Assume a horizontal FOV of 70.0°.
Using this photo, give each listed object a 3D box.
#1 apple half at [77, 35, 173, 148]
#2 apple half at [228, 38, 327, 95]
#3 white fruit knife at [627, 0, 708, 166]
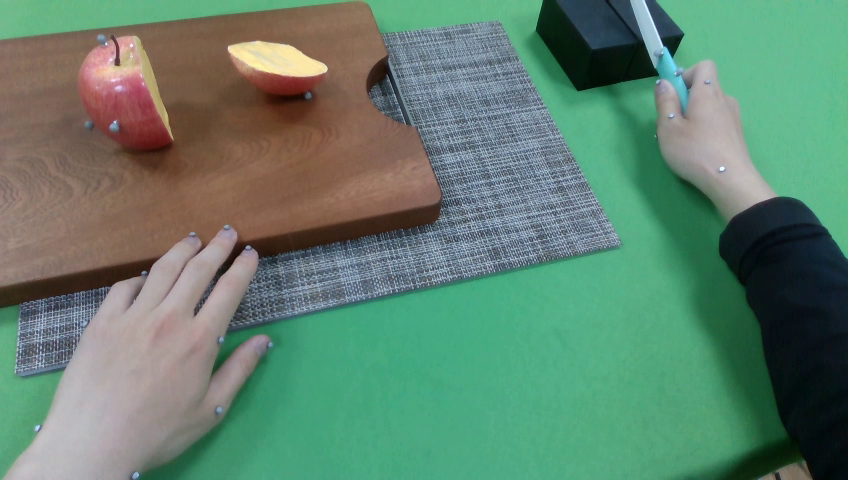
[{"bbox_3d":[-0.230,-0.108,0.460,0.053,0.075,0.080,-20,64,-13],"label":"apple half"},{"bbox_3d":[-0.127,-0.141,0.512,0.081,0.033,0.080,13,33,-9],"label":"apple half"},{"bbox_3d":[0.216,-0.167,0.558,0.016,0.027,0.206,-16,81,-13],"label":"white fruit knife"}]
